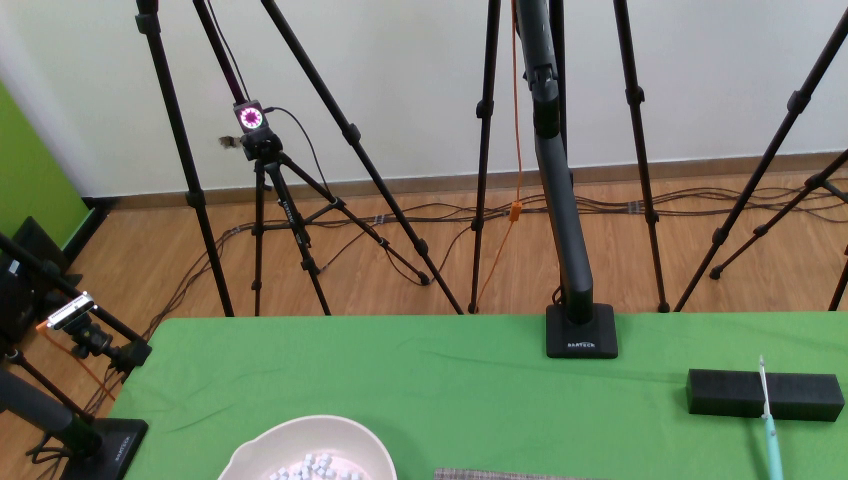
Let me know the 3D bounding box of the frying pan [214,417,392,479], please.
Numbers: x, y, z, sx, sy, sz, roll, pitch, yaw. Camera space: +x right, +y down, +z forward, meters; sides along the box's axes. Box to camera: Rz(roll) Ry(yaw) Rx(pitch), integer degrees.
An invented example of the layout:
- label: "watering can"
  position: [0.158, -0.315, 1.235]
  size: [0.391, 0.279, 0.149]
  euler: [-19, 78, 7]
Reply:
- label: "frying pan"
  position: [-0.251, 0.455, 0.831]
  size: [0.304, 0.103, 0.487]
  euler: [25, 46, 36]

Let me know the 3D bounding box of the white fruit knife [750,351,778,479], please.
- label: "white fruit knife"
  position: [0.486, 0.258, 0.872]
  size: [0.016, 0.028, 0.205]
  euler: [-1, 58, 15]
